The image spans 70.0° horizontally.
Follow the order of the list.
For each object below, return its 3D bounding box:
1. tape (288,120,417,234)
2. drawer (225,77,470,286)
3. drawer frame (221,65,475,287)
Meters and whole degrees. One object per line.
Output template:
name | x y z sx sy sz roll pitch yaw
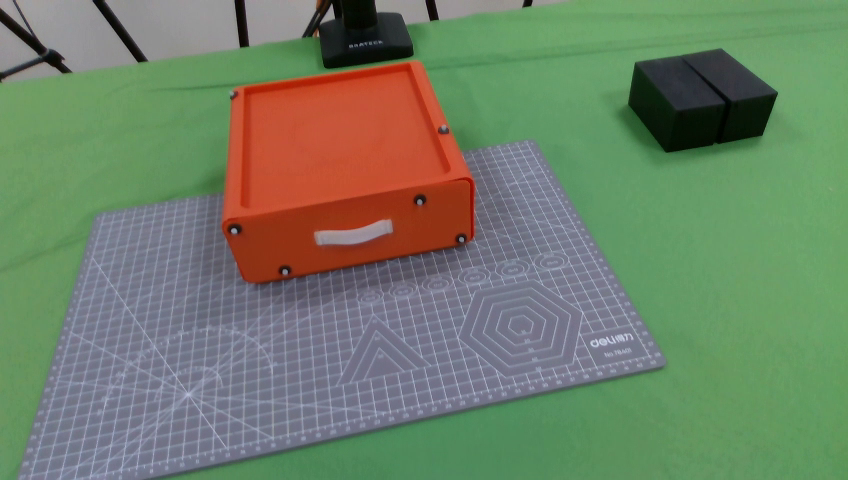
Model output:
tape | -0.067 -0.061 0.570 0.117 0.053 0.115 -3 43 3
drawer | -0.075 -0.066 0.567 0.195 0.074 0.209 -11 42 -5
drawer frame | -0.075 -0.069 0.567 0.202 0.083 0.211 -11 42 -6
